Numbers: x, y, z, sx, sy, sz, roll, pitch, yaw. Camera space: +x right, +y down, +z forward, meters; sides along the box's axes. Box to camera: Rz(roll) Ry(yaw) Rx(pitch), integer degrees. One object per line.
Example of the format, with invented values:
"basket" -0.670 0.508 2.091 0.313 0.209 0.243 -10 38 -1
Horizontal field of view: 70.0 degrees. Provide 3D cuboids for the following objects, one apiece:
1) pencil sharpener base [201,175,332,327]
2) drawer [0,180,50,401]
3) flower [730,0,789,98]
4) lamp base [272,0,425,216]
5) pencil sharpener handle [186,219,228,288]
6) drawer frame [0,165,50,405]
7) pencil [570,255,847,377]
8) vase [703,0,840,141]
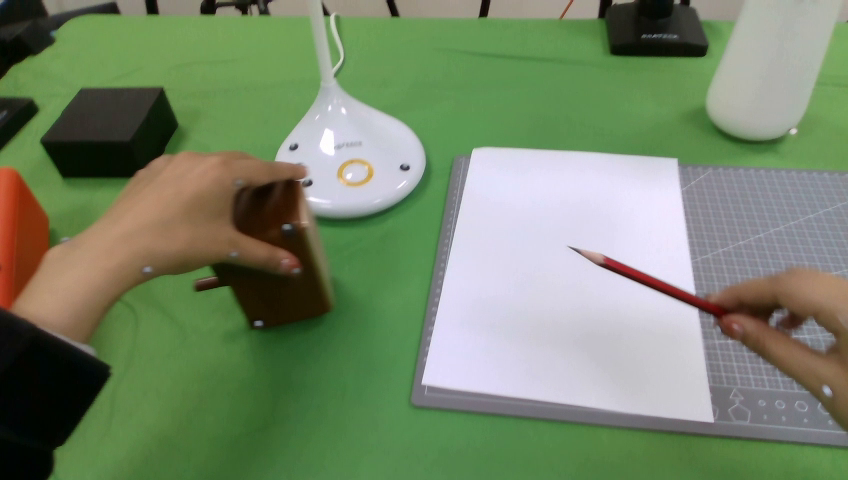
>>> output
"pencil sharpener base" -0.124 0.012 0.486 0.077 0.108 0.060 -14 48 -6
"drawer" -0.421 0.056 0.493 0.195 0.074 0.209 -20 47 -13
"flower" 0.333 -0.241 0.526 0.038 0.364 0.043 -39 67 -12
"lamp base" -0.089 -0.144 0.591 0.161 0.182 0.177 -19 46 -14
"pencil sharpener handle" -0.175 0.015 0.472 0.031 0.068 0.035 -14 53 -6
"drawer frame" -0.425 0.055 0.493 0.202 0.083 0.211 -21 48 -14
"pencil" 0.174 0.045 0.360 0.194 0.012 0.012 22 48 -7
"vase" 0.347 -0.199 0.599 0.098 0.202 0.097 -3 45 3
